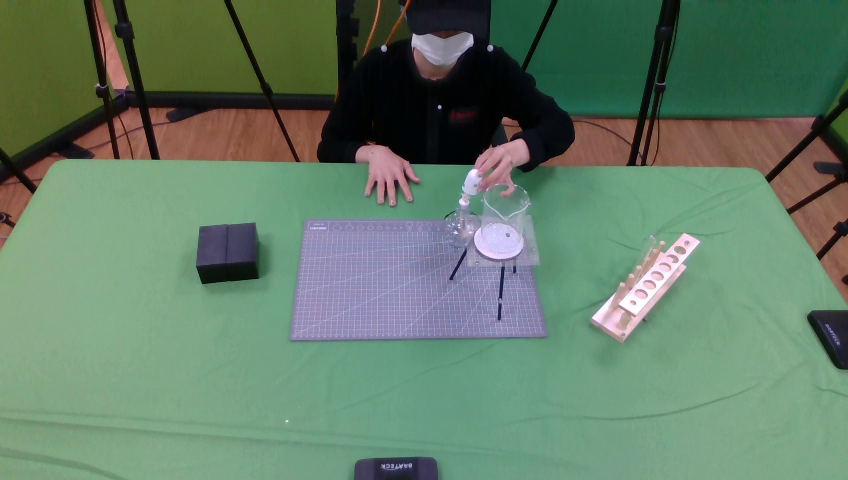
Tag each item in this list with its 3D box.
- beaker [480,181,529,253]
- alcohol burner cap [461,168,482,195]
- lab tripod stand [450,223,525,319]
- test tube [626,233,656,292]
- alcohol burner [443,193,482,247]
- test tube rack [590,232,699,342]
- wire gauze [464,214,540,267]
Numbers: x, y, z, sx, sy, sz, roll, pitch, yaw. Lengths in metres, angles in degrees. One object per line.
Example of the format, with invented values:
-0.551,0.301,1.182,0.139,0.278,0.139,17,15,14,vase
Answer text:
0.130,-0.033,0.998,0.074,0.101,0.083,5,46,4,beaker
0.089,-0.110,1.111,0.034,0.048,0.033,9,44,-9,alcohol burner cap
0.120,0.046,1.080,0.148,0.132,0.147,1,47,-1,lab tripod stand
0.384,0.042,1.079,0.017,0.151,0.017,1,47,-1,test tube
0.075,-0.044,1.177,0.078,0.120,0.077,2,44,-1,alcohol burner
0.407,0.074,1.112,0.066,0.085,0.242,35,53,26,test tube rack
0.131,-0.001,1.035,0.121,0.011,0.124,1,44,-2,wire gauze
